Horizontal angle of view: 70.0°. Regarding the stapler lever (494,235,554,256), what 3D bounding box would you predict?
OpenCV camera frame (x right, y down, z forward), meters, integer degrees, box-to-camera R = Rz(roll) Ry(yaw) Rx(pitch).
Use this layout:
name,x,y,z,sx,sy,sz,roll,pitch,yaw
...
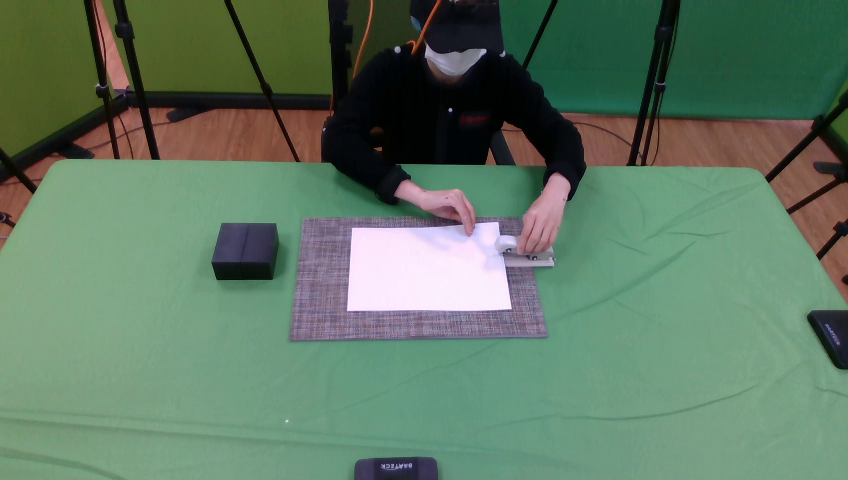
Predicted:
name,x,y,z,sx,sy,sz,roll,pitch,yaw
stapler lever,0.193,0.011,1.159,0.118,0.040,0.026,0,48,-6

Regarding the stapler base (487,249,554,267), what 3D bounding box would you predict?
name,x,y,z,sx,sy,sz,roll,pitch,yaw
stapler base,0.189,0.029,1.177,0.131,0.024,0.041,0,48,-6
